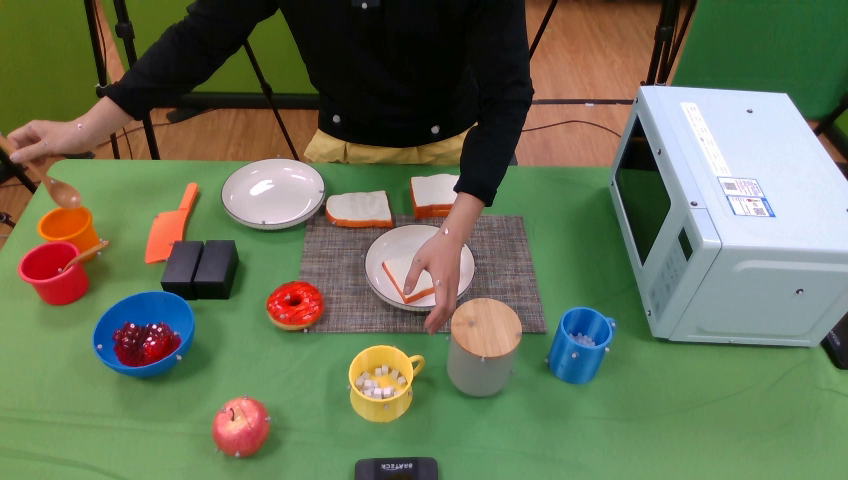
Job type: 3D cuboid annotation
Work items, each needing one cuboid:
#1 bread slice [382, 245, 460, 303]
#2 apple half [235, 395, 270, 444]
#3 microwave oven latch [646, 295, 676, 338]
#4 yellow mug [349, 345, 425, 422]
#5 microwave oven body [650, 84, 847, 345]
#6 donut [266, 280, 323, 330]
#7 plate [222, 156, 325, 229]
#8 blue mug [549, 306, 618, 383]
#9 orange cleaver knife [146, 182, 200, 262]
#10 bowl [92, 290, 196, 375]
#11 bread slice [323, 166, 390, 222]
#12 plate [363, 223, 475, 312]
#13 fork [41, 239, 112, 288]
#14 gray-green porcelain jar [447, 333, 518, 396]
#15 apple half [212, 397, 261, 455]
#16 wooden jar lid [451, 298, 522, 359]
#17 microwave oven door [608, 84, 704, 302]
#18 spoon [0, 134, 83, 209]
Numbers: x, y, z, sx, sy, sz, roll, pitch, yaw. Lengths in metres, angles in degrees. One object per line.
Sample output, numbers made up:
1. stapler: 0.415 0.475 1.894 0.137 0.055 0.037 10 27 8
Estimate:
1. bread slice: 0.000 0.054 1.129 0.132 0.019 0.104 -20 52 -20
2. apple half: -0.245 0.260 0.893 0.033 0.082 0.081 -29 55 -22
3. microwave oven latch: 0.413 0.133 1.060 0.030 0.029 0.078 4 46 1
4. yellow mug: -0.054 0.217 0.954 0.131 0.064 0.099 -24 52 -25
5. microwave oven body: 0.569 -0.054 1.116 0.326 0.261 0.439 2 46 -1
6. donut: -0.223 0.113 1.051 0.099 0.048 0.098 2 46 -2
7. plate: -0.308 -0.095 1.251 0.209 0.038 0.208 3 47 -2
8. blue mug: 0.269 0.167 0.997 0.116 0.106 0.082 -19 50 -21
9. orange cleaver knife: -0.494 -0.039 1.199 0.077 0.012 0.210 -3 48 2
10. bowl: -0.436 0.161 0.971 0.151 0.077 0.150 2 46 -2
11. bread slice: -0.140 -0.092 1.224 0.134 0.018 0.106 -19 51 6
12. plate: -0.009 0.054 1.127 0.208 0.039 0.206 2 46 -2
13. fork: -0.591 0.040 1.028 0.207 0.019 0.028 -27 36 29
14. gray-green porcelain jar: 0.091 0.178 0.960 0.106 0.127 0.105 2 47 -2
15. apple half: -0.276 0.276 0.877 0.053 0.075 0.080 -29 58 -21
16. wooden jar lid: 0.093 0.135 0.914 0.108 0.021 0.107 2 48 -3
17. microwave oven door: 0.424 -0.096 1.138 0.039 0.245 0.353 2 47 -1
18. spoon: -0.666 -0.126 1.030 0.021 0.195 0.041 13 57 47
